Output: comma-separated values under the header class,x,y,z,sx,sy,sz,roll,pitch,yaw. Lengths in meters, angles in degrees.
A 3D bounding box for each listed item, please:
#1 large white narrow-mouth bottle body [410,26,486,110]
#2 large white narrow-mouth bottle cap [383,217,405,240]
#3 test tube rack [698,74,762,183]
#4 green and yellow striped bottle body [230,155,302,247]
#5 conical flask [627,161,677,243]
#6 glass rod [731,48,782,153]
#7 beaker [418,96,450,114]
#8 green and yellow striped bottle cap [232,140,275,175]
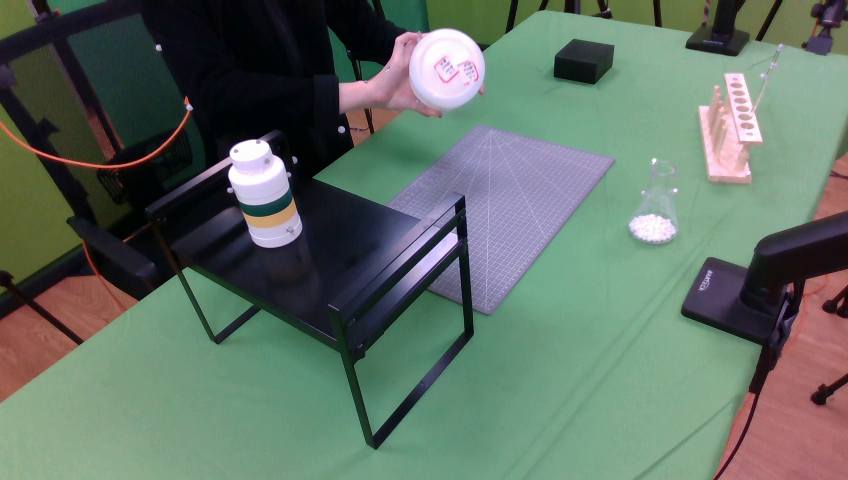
class,x,y,z,sx,sy,sz,roll,pitch,yaw
large white narrow-mouth bottle body,0.030,-0.244,0.891,0.102,0.102,0.194,-8,7,-1
large white narrow-mouth bottle cap,-0.051,-0.019,1.004,0.038,0.024,0.037,-4,39,4
test tube rack,0.547,-0.208,1.095,0.066,0.085,0.242,5,42,15
green and yellow striped bottle body,-0.188,-0.055,0.714,0.063,0.120,0.063,-4,41,4
conical flask,0.355,-0.061,0.921,0.075,0.122,0.075,-4,41,4
glass rod,0.554,-0.228,1.014,0.008,0.200,0.008,1,44,-1
beaker,0.026,-0.264,1.036,0.084,0.100,0.074,-10,83,-1
green and yellow striped bottle cap,-0.192,-0.094,0.680,0.045,0.020,0.045,-5,39,5
